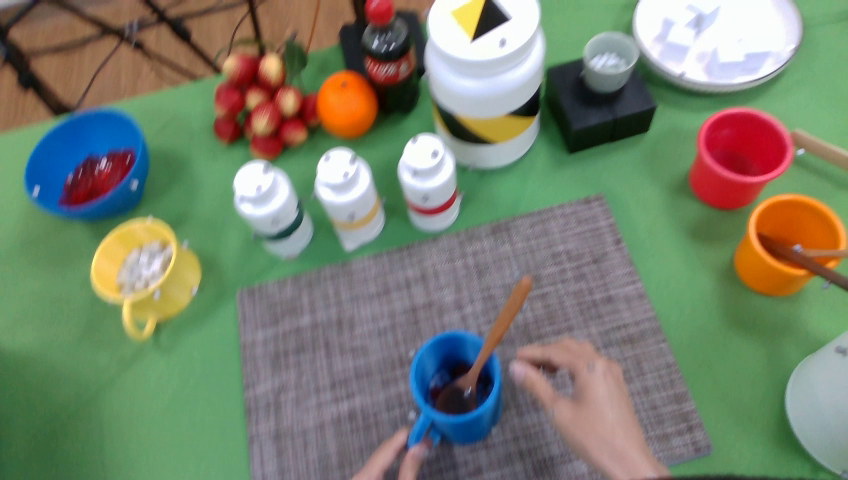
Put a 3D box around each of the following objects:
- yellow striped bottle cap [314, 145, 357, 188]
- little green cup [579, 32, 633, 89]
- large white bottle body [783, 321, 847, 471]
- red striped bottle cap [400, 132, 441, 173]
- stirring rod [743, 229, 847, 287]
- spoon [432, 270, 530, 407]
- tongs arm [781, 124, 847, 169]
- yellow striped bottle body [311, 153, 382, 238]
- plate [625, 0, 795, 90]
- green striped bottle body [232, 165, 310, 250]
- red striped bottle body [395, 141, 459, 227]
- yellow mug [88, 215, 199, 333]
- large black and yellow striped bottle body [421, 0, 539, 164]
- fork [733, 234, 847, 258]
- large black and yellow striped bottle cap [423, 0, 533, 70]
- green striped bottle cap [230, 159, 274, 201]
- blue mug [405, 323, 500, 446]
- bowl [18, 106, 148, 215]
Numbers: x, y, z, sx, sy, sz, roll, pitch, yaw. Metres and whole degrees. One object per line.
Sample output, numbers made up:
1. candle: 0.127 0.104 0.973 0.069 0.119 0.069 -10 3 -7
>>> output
1. yellow striped bottle cap: -0.095 -0.079 0.647 0.044 0.019 0.044 -2 64 5
2. little green cup: 0.215 -0.212 0.723 0.061 0.039 0.061 -2 60 4
3. large white bottle body: 0.404 0.121 0.507 0.130 0.186 0.129 -3 62 6
4. red striped bottle cap: -0.004 -0.093 0.642 0.044 0.018 0.044 -1 61 3
5. stirring rod: 0.369 0.017 0.591 0.014 0.006 0.175 -12 19 -2
6. spoon: 0.052 0.101 0.551 0.041 0.195 0.021 37 39 18
7. tongs arm: 0.585 -0.044 0.652 0.382 0.027 0.050 34 69 20
8. yellow striped bottle body: -0.089 -0.056 0.692 0.063 0.121 0.062 -3 62 6
9. plate: 0.368 -0.275 0.794 0.209 0.038 0.207 -3 64 5
10. green striped bottle body: -0.177 -0.041 0.696 0.063 0.120 0.062 -3 63 6
11. red striped bottle body: 0.004 -0.069 0.688 0.063 0.121 0.062 -4 62 8
12. yellow mug: -0.325 0.043 0.702 0.100 0.064 0.129 -5 63 3
13. large black and yellow striped bottle body: 0.066 -0.189 0.705 0.130 0.185 0.129 -3 63 6
14. fork: 0.399 0.010 0.583 0.028 0.019 0.206 -51 24 -17
15. large black and yellow striped bottle cap: 0.056 -0.226 0.630 0.115 0.019 0.114 -3 62 6
16. green striped bottle cap: -0.184 -0.065 0.650 0.044 0.020 0.044 -2 63 4
17. blue mug: 0.022 0.148 0.581 0.082 0.107 0.116 34 72 22
18. bowl: -0.415 -0.087 0.772 0.151 0.077 0.150 -2 63 5
